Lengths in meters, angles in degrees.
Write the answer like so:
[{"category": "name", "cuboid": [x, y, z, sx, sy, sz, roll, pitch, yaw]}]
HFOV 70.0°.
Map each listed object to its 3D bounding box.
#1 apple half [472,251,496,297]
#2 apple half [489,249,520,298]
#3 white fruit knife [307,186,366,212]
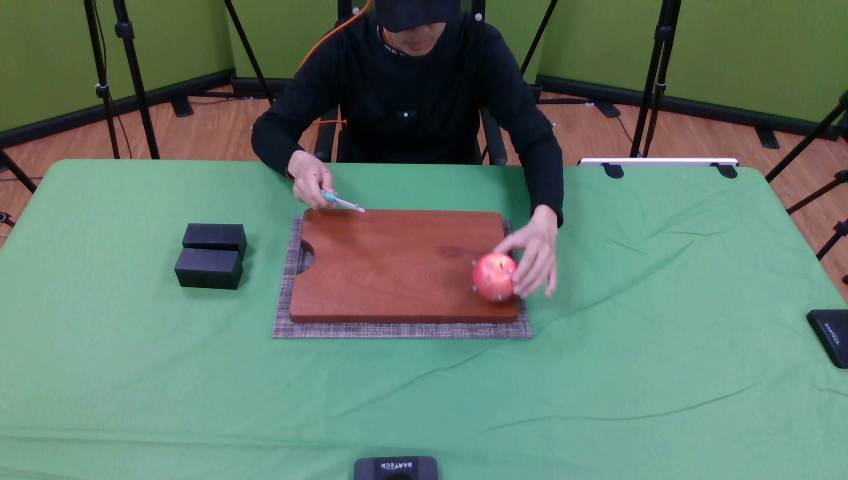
[{"category": "apple half", "cuboid": [0.097, 0.061, 1.026, 0.033, 0.081, 0.080, -3, 46, -10]}, {"category": "apple half", "cuboid": [0.135, 0.059, 1.032, 0.053, 0.075, 0.080, -3, 43, -9]}, {"category": "white fruit knife", "cuboid": [-0.163, -0.074, 1.107, 0.206, 0.027, 0.016, 20, 71, 49]}]
